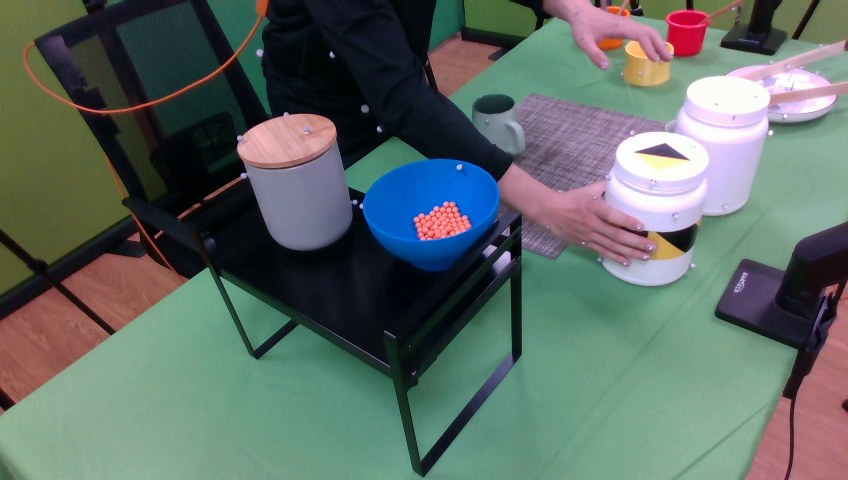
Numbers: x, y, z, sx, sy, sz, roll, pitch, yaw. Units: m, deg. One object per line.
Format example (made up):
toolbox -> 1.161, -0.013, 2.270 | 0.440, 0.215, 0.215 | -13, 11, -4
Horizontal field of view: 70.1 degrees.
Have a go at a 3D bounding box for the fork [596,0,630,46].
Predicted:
fork -> 0.481, -0.556, 1.452 | 0.028, 0.019, 0.207 | 40, 103, 38

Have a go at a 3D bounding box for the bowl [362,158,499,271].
bowl -> 0.011, -0.019, 0.679 | 0.151, 0.077, 0.150 | -5, 41, 5

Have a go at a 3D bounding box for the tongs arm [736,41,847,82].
tongs arm -> 0.712, -0.332, 1.194 | 0.386, 0.026, 0.050 | -19, 45, -16

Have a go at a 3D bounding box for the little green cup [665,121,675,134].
little green cup -> 0.473, -0.188, 1.113 | 0.061, 0.039, 0.061 | -5, 40, 5

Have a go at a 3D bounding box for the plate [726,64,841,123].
plate -> 0.695, -0.282, 1.189 | 0.207, 0.039, 0.206 | -4, 40, 4

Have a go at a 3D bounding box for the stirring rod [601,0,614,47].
stirring rod -> 0.439, -0.552, 1.463 | 0.014, 0.006, 0.175 | -7, 83, 2

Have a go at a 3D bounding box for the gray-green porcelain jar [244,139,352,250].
gray-green porcelain jar -> -0.144, -0.060, 0.714 | 0.106, 0.127, 0.105 | -4, 41, 4

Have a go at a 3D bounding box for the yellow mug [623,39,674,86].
yellow mug -> 0.484, -0.398, 1.333 | 0.100, 0.064, 0.130 | -18, 40, -11

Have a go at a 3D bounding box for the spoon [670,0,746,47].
spoon -> 0.629, -0.485, 1.350 | 0.022, 0.193, 0.042 | 48, 54, -7

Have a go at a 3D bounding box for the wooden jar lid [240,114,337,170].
wooden jar lid -> -0.149, -0.106, 0.673 | 0.108, 0.021, 0.108 | -6, 38, 5

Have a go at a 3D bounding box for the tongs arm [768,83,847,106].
tongs arm -> 0.738, -0.281, 1.134 | 0.388, 0.028, 0.028 | -9, 47, -5

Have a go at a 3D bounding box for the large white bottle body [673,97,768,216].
large white bottle body -> 0.458, -0.146, 0.952 | 0.130, 0.185, 0.130 | -4, 40, 4

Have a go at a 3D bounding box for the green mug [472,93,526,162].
green mug -> 0.144, -0.202, 1.122 | 0.093, 0.105, 0.124 | -29, 45, -23

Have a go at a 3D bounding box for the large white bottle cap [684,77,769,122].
large white bottle cap -> 0.448, -0.209, 0.898 | 0.115, 0.018, 0.114 | -4, 40, 4

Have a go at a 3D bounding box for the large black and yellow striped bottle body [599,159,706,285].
large black and yellow striped bottle body -> 0.320, -0.042, 0.854 | 0.131, 0.185, 0.130 | -4, 40, 4

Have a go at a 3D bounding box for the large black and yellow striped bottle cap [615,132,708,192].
large black and yellow striped bottle cap -> 0.313, -0.105, 0.799 | 0.115, 0.019, 0.114 | -5, 41, 5
